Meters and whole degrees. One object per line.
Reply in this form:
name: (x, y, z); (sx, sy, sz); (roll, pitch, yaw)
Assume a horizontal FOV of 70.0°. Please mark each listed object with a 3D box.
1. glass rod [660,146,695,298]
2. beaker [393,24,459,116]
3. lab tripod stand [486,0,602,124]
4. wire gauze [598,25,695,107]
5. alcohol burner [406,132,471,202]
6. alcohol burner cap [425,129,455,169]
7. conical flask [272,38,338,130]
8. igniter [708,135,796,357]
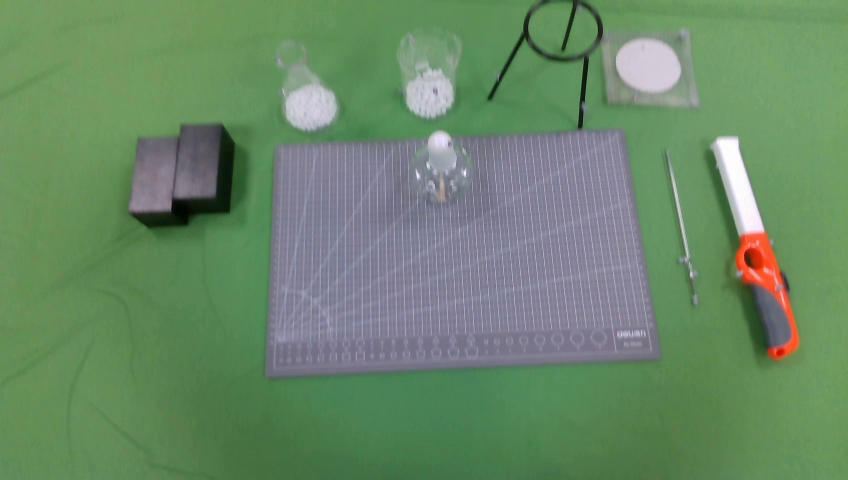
glass rod: (0.310, -0.026, 0.742); (0.008, 0.008, 0.198); (-3, 72, 0)
beaker: (0.005, -0.209, 0.758); (0.084, 0.101, 0.073); (-28, 73, -9)
lab tripod stand: (0.153, -0.223, 0.742); (0.148, 0.132, 0.147); (0, 73, 2)
wire gauze: (0.298, -0.236, 0.811); (0.125, 0.011, 0.120); (2, 73, 0)
alcohol burner: (0.018, -0.091, 0.708); (0.078, 0.120, 0.077); (0, 70, 0)
alcohol burner cap: (0.017, -0.105, 0.675); (0.034, 0.048, 0.033); (-2, 66, 6)
conical flask: (-0.152, -0.195, 0.743); (0.075, 0.122, 0.075); (0, 71, 1)
igniter: (0.389, 0.001, 0.721); (0.057, 0.025, 0.274); (-3, 72, -11)
